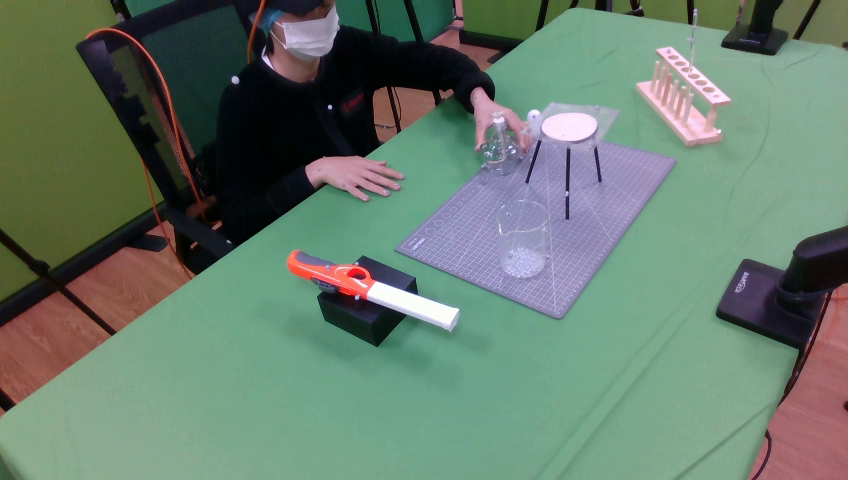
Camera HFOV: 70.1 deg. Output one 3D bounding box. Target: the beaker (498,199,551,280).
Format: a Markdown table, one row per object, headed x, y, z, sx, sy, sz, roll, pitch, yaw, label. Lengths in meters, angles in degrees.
| x | y | z | sx | sy | sz | roll | pitch | yaw | label |
| --- | --- | --- | --- | --- | --- | --- | --- | --- | --- |
| 0.144 | 0.003 | 0.884 | 0.073 | 0.101 | 0.084 | 28 | 52 | 36 | beaker |

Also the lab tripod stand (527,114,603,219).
| x | y | z | sx | sy | sz | roll | pitch | yaw | label |
| --- | --- | --- | --- | --- | --- | --- | --- | --- | --- |
| 0.234 | -0.129 | 1.002 | 0.148 | 0.132 | 0.147 | -6 | 40 | 6 | lab tripod stand |

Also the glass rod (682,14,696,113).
| x | y | z | sx | sy | sz | roll | pitch | yaw | label |
| --- | --- | --- | --- | --- | --- | --- | --- | --- | --- |
| 0.495 | -0.326 | 1.132 | 0.008 | 0.201 | 0.008 | -8 | 42 | 8 | glass rod |

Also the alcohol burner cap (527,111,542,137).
| x | y | z | sx | sy | sz | roll | pitch | yaw | label |
| --- | --- | --- | --- | --- | --- | --- | --- | --- | --- |
| 0.220 | -0.233 | 1.200 | 0.034 | 0.048 | 0.033 | -5 | 41 | 5 | alcohol burner cap |

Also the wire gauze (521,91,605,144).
| x | y | z | sx | sy | sz | roll | pitch | yaw | label |
| --- | --- | --- | --- | --- | --- | --- | --- | --- | --- |
| 0.219 | -0.191 | 0.948 | 0.121 | 0.011 | 0.125 | 8 | 49 | 13 | wire gauze |

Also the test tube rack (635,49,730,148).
| x | y | z | sx | sy | sz | roll | pitch | yaw | label |
| --- | --- | --- | --- | --- | --- | --- | --- | --- | --- |
| 0.497 | -0.283 | 1.185 | 0.067 | 0.085 | 0.240 | -10 | 40 | -2 | test tube rack |

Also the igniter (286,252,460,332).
| x | y | z | sx | sy | sz | roll | pitch | yaw | label |
| --- | --- | --- | --- | --- | --- | --- | --- | --- | --- |
| -0.080 | 0.067 | 0.832 | 0.275 | 0.025 | 0.057 | 17 | 46 | 22 | igniter |

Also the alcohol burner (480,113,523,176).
| x | y | z | sx | sy | sz | roll | pitch | yaw | label |
| --- | --- | --- | --- | --- | --- | --- | --- | --- | --- |
| 0.138 | -0.177 | 1.089 | 0.078 | 0.119 | 0.077 | -5 | 41 | 5 | alcohol burner |
